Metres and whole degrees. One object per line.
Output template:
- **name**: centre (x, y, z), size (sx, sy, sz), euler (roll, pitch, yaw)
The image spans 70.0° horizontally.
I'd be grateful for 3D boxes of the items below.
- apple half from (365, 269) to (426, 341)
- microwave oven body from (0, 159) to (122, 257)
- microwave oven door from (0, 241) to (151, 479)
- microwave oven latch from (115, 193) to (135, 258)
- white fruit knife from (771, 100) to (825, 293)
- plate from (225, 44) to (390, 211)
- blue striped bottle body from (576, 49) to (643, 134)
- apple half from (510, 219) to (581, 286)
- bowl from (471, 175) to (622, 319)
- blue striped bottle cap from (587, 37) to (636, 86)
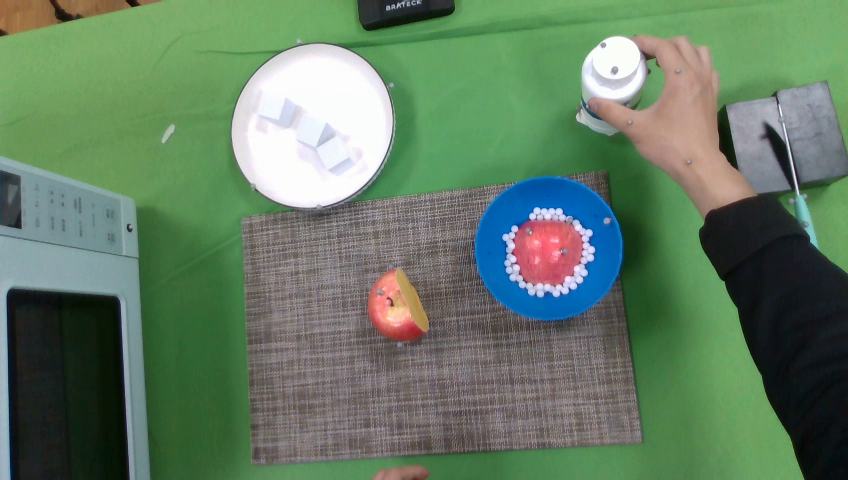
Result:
- **apple half**: centre (-0.037, 0.078, 0.681), size (0.053, 0.075, 0.080), euler (-27, 83, 10)
- **microwave oven body**: centre (-0.524, 0.165, 0.663), size (0.325, 0.261, 0.440), euler (-8, 82, 9)
- **microwave oven door**: centre (-0.377, 0.185, 0.629), size (0.039, 0.245, 0.354), euler (-9, 81, 9)
- **microwave oven latch**: centre (-0.382, -0.017, 0.758), size (0.030, 0.029, 0.079), euler (-8, 82, 9)
- **white fruit knife**: centre (0.378, -0.041, 0.616), size (0.016, 0.027, 0.208), euler (-14, 98, 27)
- **plate**: centre (-0.141, -0.136, 0.748), size (0.207, 0.039, 0.207), euler (-1, 83, 10)
- **blue striped bottle body**: centre (0.190, -0.159, 0.627), size (0.063, 0.121, 0.063), euler (-2, 79, 13)
- **apple half**: centre (0.130, 0.011, 0.651), size (0.081, 0.033, 0.081), euler (-2, 82, 11)
- **bowl**: centre (0.130, 0.011, 0.655), size (0.151, 0.077, 0.151), euler (-1, 83, 11)
- **blue striped bottle cap**: centre (0.179, -0.170, 0.578), size (0.044, 0.021, 0.044), euler (-2, 83, 14)
